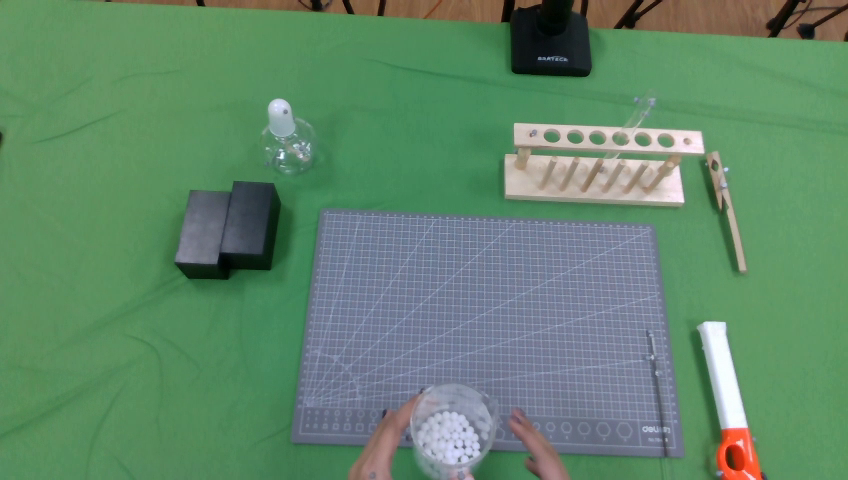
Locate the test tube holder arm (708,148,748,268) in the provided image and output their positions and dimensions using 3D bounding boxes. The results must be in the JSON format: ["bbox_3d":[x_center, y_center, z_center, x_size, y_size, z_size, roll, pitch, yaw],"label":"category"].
[{"bbox_3d":[0.413,-0.046,0.825,0.013,0.015,0.177,-19,63,28],"label":"test tube holder arm"}]

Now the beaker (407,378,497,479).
[{"bbox_3d":[0.025,0.177,0.562,0.084,0.101,0.073,-24,63,-15],"label":"beaker"}]

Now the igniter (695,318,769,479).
[{"bbox_3d":[0.357,0.223,0.698,0.057,0.025,0.274,4,65,-12],"label":"igniter"}]

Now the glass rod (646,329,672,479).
[{"bbox_3d":[0.277,0.201,0.711,0.008,0.008,0.198,2,65,-2],"label":"glass rod"}]

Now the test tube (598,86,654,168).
[{"bbox_3d":[0.253,-0.139,0.770,0.017,0.151,0.017,3,62,-6],"label":"test tube"}]

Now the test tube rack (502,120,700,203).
[{"bbox_3d":[0.231,-0.103,0.807,0.242,0.086,0.066,2,65,-1],"label":"test tube rack"}]

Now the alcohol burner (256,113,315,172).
[{"bbox_3d":[-0.184,-0.142,0.790,0.078,0.120,0.077,0,64,0],"label":"alcohol burner"}]

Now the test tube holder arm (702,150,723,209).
[{"bbox_3d":[0.404,-0.085,0.845,0.010,0.015,0.087,-19,63,28],"label":"test tube holder arm"}]

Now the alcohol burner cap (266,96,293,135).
[{"bbox_3d":[-0.182,-0.159,0.758,0.034,0.048,0.033,4,60,-6],"label":"alcohol burner cap"}]
